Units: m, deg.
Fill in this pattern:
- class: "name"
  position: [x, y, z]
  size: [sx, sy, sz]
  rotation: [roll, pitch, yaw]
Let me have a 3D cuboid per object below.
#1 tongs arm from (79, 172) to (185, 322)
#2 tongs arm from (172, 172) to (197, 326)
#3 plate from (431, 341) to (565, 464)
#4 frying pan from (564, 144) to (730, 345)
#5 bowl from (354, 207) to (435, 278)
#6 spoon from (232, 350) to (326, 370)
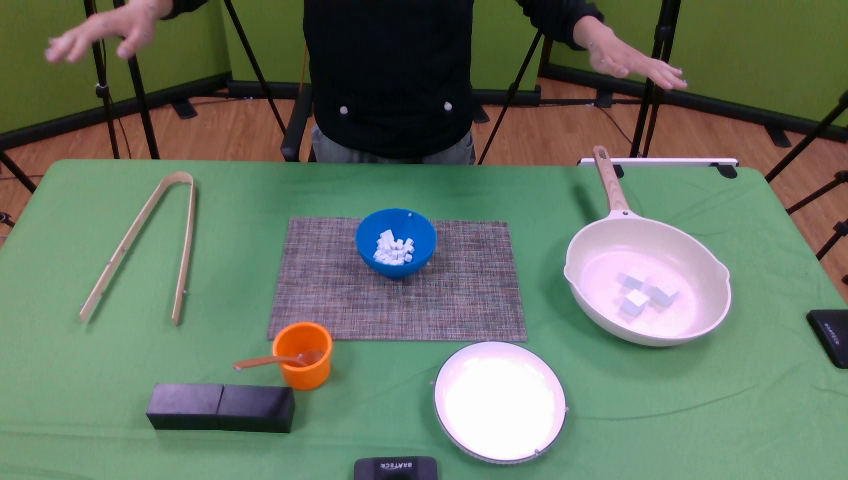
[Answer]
- class: "tongs arm"
  position: [-0.540, -0.002, 1.147]
  size: [0.051, 0.026, 0.382]
  rotation: [5, 45, -1]
- class: "tongs arm"
  position: [-0.459, 0.003, 1.155]
  size: [0.028, 0.028, 0.385]
  rotation: [-7, 47, -8]
- class: "plate"
  position: [0.114, 0.255, 0.951]
  size: [0.208, 0.039, 0.206]
  rotation: [3, 46, -2]
- class: "frying pan"
  position: [0.396, -0.008, 1.179]
  size: [0.307, 0.103, 0.484]
  rotation: [0, 55, -5]
- class: "bowl"
  position: [-0.056, 0.018, 1.132]
  size: [0.151, 0.077, 0.150]
  rotation: [2, 46, -2]
- class: "spoon"
  position: [-0.216, 0.182, 0.919]
  size: [0.041, 0.194, 0.021]
  rotation: [43, 102, 27]
